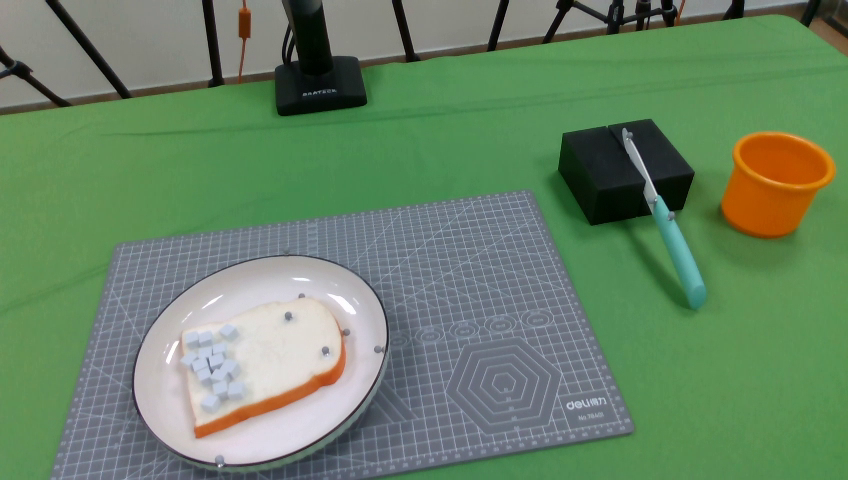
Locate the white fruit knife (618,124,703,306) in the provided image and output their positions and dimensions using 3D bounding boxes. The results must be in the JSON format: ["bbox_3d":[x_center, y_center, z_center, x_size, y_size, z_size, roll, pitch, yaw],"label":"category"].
[{"bbox_3d":[0.226,-0.034,0.593,0.016,0.027,0.205,-9,60,-6],"label":"white fruit knife"}]

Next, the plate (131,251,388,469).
[{"bbox_3d":[-0.133,0.096,0.510,0.209,0.038,0.207,-1,46,1],"label":"plate"}]

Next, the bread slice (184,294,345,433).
[{"bbox_3d":[-0.136,0.094,0.516,0.132,0.019,0.103,-19,48,-14],"label":"bread slice"}]
